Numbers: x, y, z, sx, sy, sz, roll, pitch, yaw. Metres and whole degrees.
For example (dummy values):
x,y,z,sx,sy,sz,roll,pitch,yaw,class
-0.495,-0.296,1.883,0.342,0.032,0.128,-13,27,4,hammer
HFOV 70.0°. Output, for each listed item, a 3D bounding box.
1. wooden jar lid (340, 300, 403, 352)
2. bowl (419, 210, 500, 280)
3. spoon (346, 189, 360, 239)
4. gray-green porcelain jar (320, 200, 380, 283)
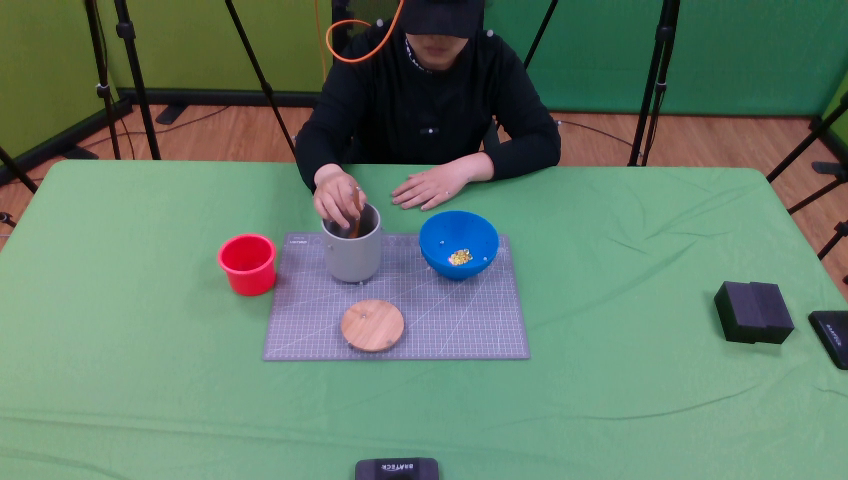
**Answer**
x,y,z,sx,sy,sz,roll,pitch,yaw,class
-0.090,0.150,1.046,0.108,0.021,0.107,3,47,-3,wooden jar lid
0.062,0.022,1.140,0.151,0.077,0.150,2,46,-2,bowl
-0.127,-0.026,1.089,0.022,0.194,0.041,-6,53,-20,spoon
-0.132,0.007,1.106,0.106,0.127,0.105,2,46,-2,gray-green porcelain jar
